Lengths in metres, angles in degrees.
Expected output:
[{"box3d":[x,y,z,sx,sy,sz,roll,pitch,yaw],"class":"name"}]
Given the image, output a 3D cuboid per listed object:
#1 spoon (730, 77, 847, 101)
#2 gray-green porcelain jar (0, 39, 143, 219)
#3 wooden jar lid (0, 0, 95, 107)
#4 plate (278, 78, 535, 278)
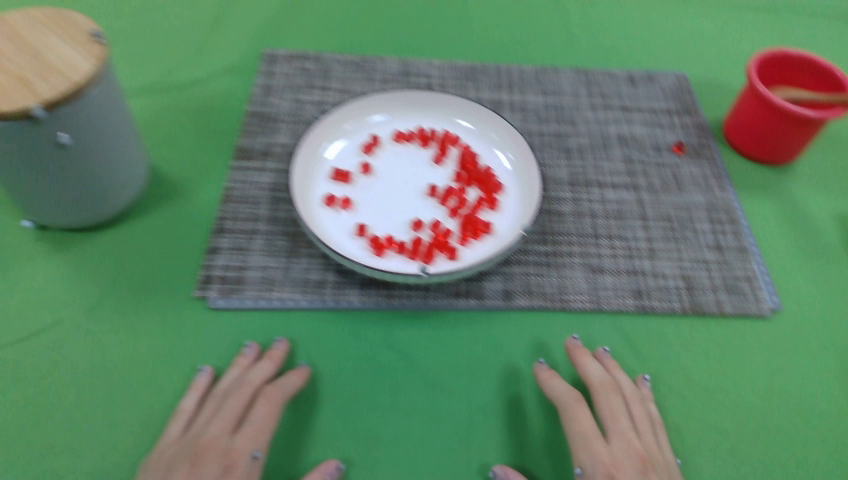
[{"box3d":[0.362,-0.136,0.534,0.042,0.022,0.192,-23,21,-25],"class":"spoon"},{"box3d":[-0.278,-0.086,0.453,0.106,0.127,0.105,3,55,-4],"class":"gray-green porcelain jar"},{"box3d":[-0.273,-0.123,0.400,0.108,0.021,0.107,3,57,-4],"class":"wooden jar lid"},{"box3d":[-0.014,-0.052,0.506,0.208,0.039,0.205,3,55,-4],"class":"plate"}]
